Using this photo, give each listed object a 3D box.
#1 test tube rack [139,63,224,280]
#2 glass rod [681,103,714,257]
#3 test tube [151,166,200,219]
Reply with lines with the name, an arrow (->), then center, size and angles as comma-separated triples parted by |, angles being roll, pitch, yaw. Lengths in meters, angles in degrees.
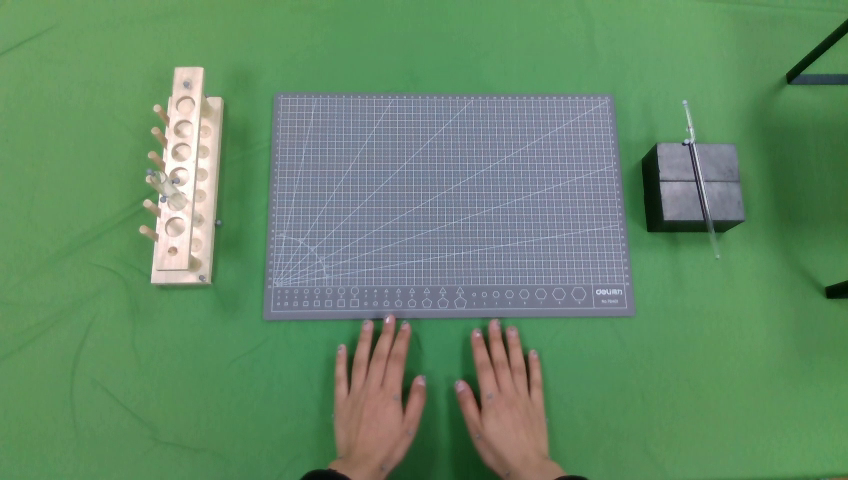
test tube rack -> -0.290, -0.079, 0.717 | 0.067, 0.085, 0.241 | 0, 76, -2
glass rod -> 0.332, -0.075, 0.736 | 0.008, 0.008, 0.198 | -3, 76, -3
test tube -> -0.267, -0.048, 0.658 | 0.017, 0.150, 0.017 | 2, 76, -7
